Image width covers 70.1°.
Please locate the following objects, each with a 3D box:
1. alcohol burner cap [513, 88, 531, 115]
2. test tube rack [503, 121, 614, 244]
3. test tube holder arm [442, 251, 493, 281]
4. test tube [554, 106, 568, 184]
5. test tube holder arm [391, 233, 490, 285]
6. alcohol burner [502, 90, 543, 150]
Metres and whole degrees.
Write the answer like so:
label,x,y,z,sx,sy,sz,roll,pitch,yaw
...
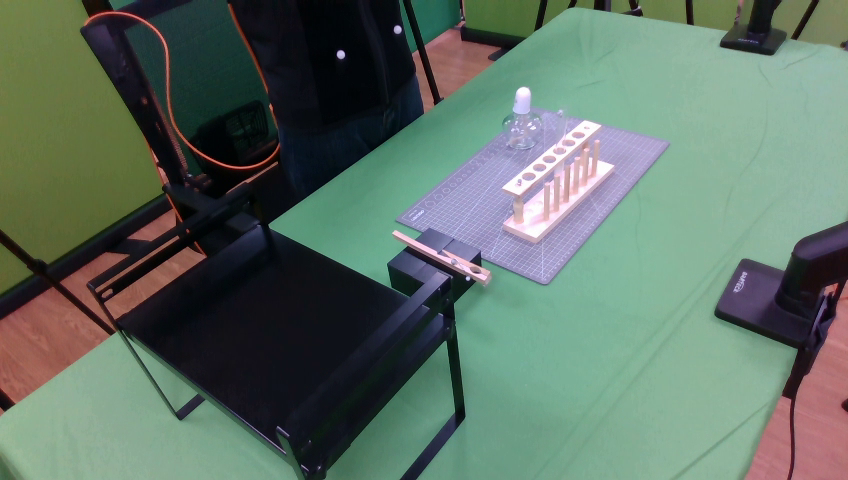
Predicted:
label,x,y,z,sx,sy,sz,roll,pitch,yaw
alcohol burner cap,0.183,-0.260,1.123,0.034,0.048,0.033,0,43,0
test tube rack,0.230,-0.101,1.006,0.066,0.085,0.243,26,50,35
test tube holder arm,0.058,0.036,0.851,0.087,0.015,0.010,23,56,32
test tube,0.223,-0.151,0.987,0.017,0.151,0.017,-4,43,4
test tube holder arm,0.020,0.025,0.872,0.177,0.015,0.013,22,56,31
alcohol burner,0.186,-0.233,1.147,0.078,0.119,0.077,-5,42,5
